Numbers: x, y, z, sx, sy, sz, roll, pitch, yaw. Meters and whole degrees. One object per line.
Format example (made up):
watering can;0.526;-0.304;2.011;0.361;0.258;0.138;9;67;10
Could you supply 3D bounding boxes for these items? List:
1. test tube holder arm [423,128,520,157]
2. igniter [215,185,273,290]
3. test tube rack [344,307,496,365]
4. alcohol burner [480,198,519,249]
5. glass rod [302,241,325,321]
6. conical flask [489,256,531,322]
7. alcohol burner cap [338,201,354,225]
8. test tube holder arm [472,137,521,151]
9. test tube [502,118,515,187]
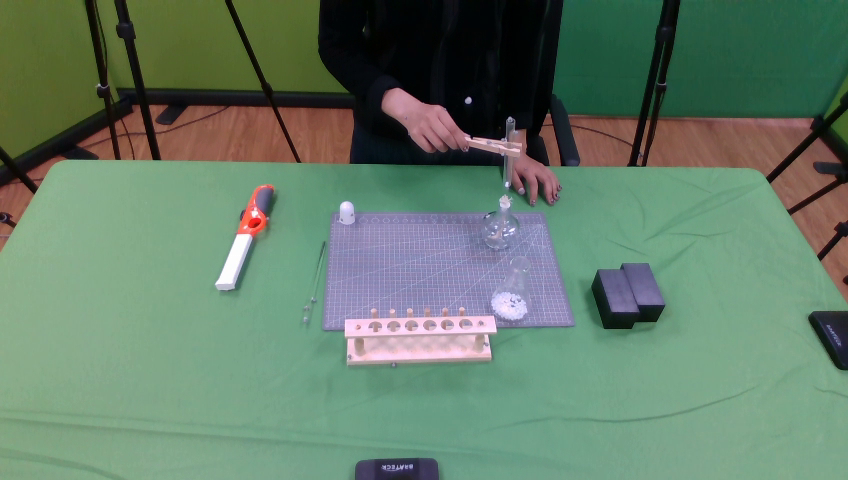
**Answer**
test tube holder arm;0.082;-0.172;1.067;0.178;0.015;0.013;14;47;15
igniter;-0.347;-0.014;1.182;0.057;0.025;0.275;-1;45;8
test tube rack;-0.009;0.154;1.007;0.242;0.085;0.066;-1;46;-5
alcohol burner;0.150;-0.038;1.182;0.078;0.119;0.077;3;47;-3
glass rod;-0.203;0.072;1.124;0.008;0.008;0.198;4;43;1
conical flask;0.158;0.081;1.061;0.075;0.122;0.075;2;46;-2
alcohol burner cap;-0.159;-0.056;1.224;0.034;0.048;0.033;2;47;-2
test tube holder arm;0.126;-0.167;1.061;0.088;0.015;0.010;9;46;10
test tube;0.148;-0.149;1.063;0.017;0.151;0.017;-2;48;2
